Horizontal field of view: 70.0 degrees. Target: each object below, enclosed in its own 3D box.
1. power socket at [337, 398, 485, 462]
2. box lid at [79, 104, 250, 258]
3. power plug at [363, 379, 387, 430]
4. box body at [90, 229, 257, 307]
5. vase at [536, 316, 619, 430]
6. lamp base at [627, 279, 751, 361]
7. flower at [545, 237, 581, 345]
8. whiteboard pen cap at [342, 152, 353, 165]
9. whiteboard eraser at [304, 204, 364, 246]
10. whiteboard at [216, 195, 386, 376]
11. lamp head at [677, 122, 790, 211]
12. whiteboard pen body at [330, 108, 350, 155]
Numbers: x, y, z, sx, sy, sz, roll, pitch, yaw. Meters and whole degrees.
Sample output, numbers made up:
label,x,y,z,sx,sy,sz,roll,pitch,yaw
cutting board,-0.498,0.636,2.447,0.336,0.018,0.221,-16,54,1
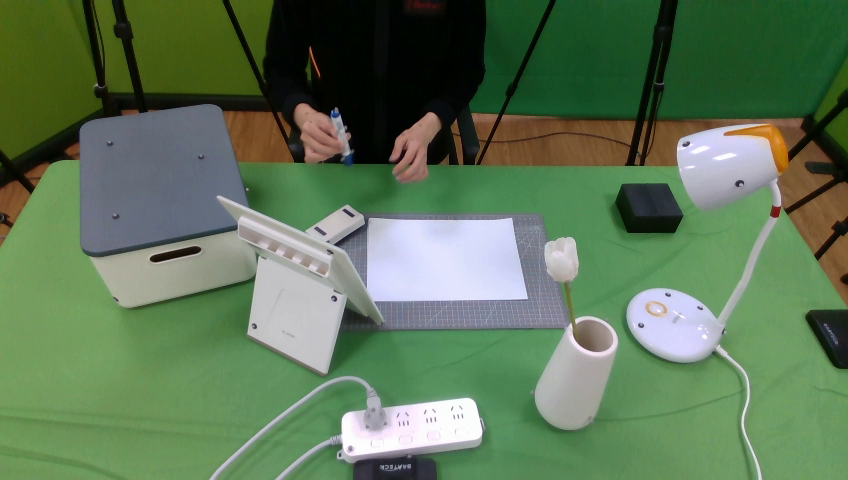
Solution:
label,x,y,z,sx,sy,sz,roll,pitch,yaw
power socket,-0.018,0.285,0.914,0.227,0.033,0.071,-4,46,-8
box lid,-0.467,-0.121,1.075,0.264,0.015,0.369,-13,49,-17
power plug,-0.071,0.252,0.911,0.035,0.053,0.072,3,40,0
box body,-0.471,-0.070,1.131,0.254,0.161,0.361,-14,49,-17
vase,0.229,0.200,0.901,0.098,0.201,0.097,3,46,-3
lamp base,0.460,0.100,1.027,0.178,0.181,0.160,27,51,17
flower,0.213,0.137,0.846,0.038,0.364,0.044,22,55,40
whiteboard pen cap,-0.141,-0.154,1.116,0.018,0.033,0.018,-1,64,2
whiteboard eraser,-0.175,-0.022,1.187,0.055,0.042,0.112,36,54,26
whiteboard,-0.212,0.093,0.939,0.216,0.307,0.143,24,70,17
lamp head,0.423,-0.104,0.819,0.122,0.113,0.112,-13,33,40
whiteboard pen body,-0.145,-0.182,1.064,0.017,0.141,0.017,-1,63,3
